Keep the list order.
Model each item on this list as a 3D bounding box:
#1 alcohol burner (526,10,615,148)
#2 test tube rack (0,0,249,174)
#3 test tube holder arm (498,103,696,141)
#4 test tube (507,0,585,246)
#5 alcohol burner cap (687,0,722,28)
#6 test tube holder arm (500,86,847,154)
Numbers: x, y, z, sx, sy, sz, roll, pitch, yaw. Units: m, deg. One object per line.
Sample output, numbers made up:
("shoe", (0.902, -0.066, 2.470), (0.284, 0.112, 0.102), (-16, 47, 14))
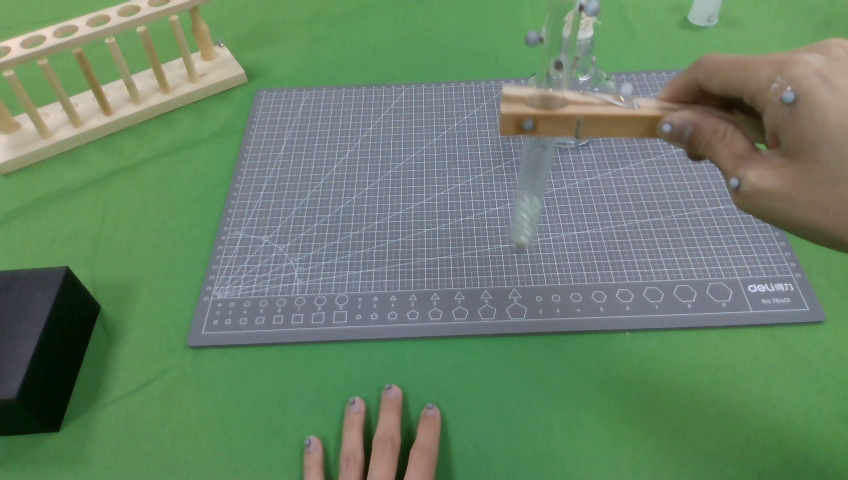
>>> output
("alcohol burner", (0.127, -0.139, 0.517), (0.078, 0.120, 0.077), (-1, 48, 2))
("test tube rack", (-0.304, -0.159, 0.581), (0.242, 0.086, 0.066), (-27, 54, -18))
("test tube holder arm", (0.078, -0.054, 0.279), (0.088, 0.015, 0.010), (2, 52, 3))
("test tube", (0.056, -0.050, 0.294), (0.017, 0.151, 0.017), (1, 48, 0))
("alcohol burner cap", (0.308, -0.258, 0.655), (0.034, 0.048, 0.033), (-3, 50, 4))
("test tube holder arm", (0.124, -0.054, 0.278), (0.178, 0.015, 0.013), (7, 53, 7))
